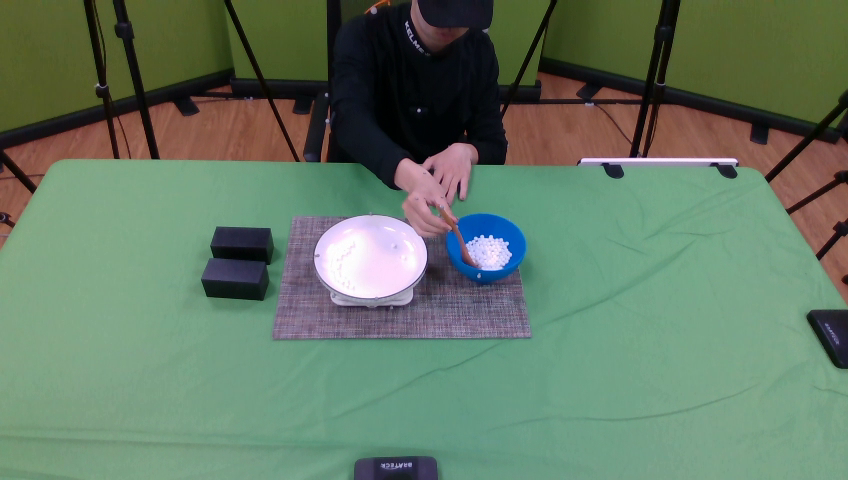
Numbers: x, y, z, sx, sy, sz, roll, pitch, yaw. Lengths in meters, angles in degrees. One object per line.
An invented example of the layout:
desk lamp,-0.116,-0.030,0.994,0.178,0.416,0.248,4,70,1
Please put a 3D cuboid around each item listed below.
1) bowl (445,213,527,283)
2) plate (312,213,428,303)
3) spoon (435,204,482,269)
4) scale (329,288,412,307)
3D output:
bowl,0.111,0.028,1.137,0.151,0.077,0.150,2,46,-2
plate,-0.097,0.036,1.100,0.209,0.038,0.208,2,46,-2
spoon,0.061,-0.003,1.069,0.021,0.195,0.041,-42,44,-12
scale,-0.099,0.042,1.140,0.149,0.032,0.199,1,46,-4
